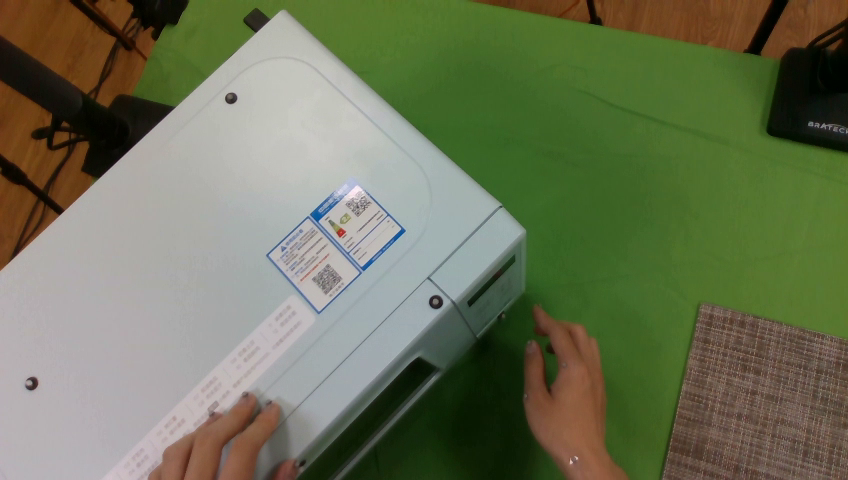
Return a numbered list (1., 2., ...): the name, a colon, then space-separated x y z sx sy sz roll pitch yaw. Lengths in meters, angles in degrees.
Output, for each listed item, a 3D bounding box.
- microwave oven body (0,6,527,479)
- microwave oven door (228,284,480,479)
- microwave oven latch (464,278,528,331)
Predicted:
1. microwave oven body: -0.165 0.064 0.598 0.441 0.262 0.324 -45 74 -4
2. microwave oven door: -0.095 0.189 0.549 0.355 0.245 0.039 -45 72 -4
3. microwave oven latch: 0.078 0.063 0.661 0.079 0.030 0.030 -43 73 -3
